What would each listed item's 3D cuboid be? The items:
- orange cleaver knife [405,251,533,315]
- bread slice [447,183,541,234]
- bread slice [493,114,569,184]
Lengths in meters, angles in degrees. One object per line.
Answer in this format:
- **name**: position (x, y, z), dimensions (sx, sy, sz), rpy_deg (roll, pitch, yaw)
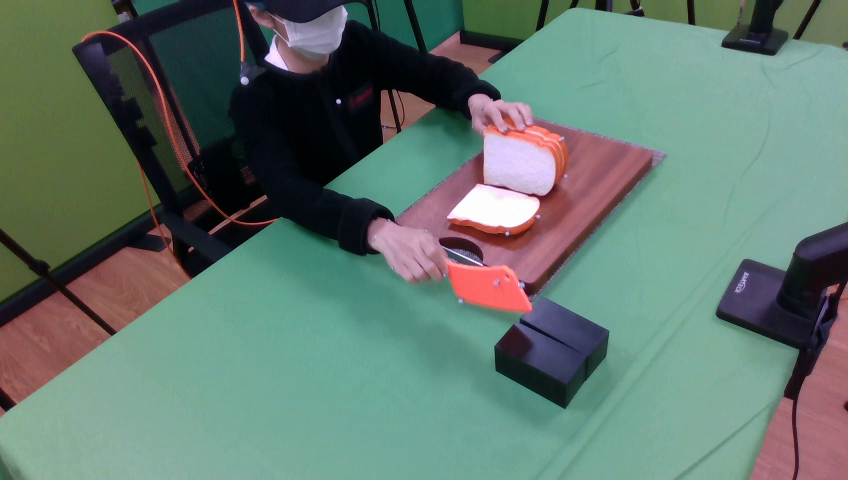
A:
- **orange cleaver knife**: position (0.055, 0.056, 0.805), dimensions (0.209, 0.077, 0.012), rpy_deg (11, 40, 45)
- **bread slice**: position (0.117, -0.047, 0.964), dimensions (0.130, 0.019, 0.105), rpy_deg (17, 44, 31)
- **bread slice**: position (0.176, -0.144, 1.014), dimensions (0.133, 0.107, 0.018), rpy_deg (23, 49, 21)
